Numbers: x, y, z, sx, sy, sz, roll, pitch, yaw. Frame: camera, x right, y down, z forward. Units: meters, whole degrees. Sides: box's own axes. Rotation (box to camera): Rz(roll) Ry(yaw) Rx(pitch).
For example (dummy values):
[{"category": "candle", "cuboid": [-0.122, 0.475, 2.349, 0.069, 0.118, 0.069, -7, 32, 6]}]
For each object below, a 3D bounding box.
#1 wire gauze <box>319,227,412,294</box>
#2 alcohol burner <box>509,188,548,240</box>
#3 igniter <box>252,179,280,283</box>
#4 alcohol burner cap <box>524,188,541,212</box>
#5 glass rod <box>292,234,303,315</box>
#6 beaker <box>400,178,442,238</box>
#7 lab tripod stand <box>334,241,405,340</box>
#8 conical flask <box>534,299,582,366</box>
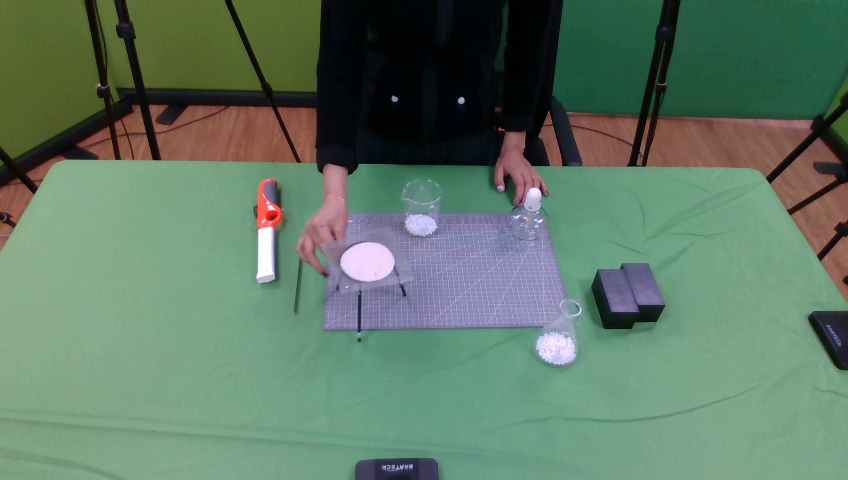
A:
[{"category": "wire gauze", "cuboid": [-0.096, 0.033, 0.987, 0.125, 0.011, 0.120, -13, 49, -17]}, {"category": "alcohol burner", "cuboid": [0.211, -0.057, 1.204, 0.078, 0.120, 0.077, 1, 47, -1]}, {"category": "igniter", "cuboid": [-0.312, -0.027, 1.197, 0.057, 0.025, 0.274, -13, 47, -2]}, {"category": "alcohol burner cap", "cuboid": [0.212, -0.081, 1.177, 0.034, 0.048, 0.033, -2, 54, 3]}, {"category": "glass rod", "cuboid": [-0.236, 0.059, 1.133, 0.008, 0.008, 0.198, -1, 46, -4]}, {"category": "beaker", "cuboid": [-0.008, -0.059, 1.200, 0.084, 0.101, 0.073, -14, 48, -17]}, {"category": "lab tripod stand", "cuboid": [-0.099, 0.075, 1.039, 0.148, 0.132, 0.147, 2, 46, -2]}, {"category": "conical flask", "cuboid": [0.229, 0.149, 1.005, 0.075, 0.122, 0.075, 2, 46, -2]}]
